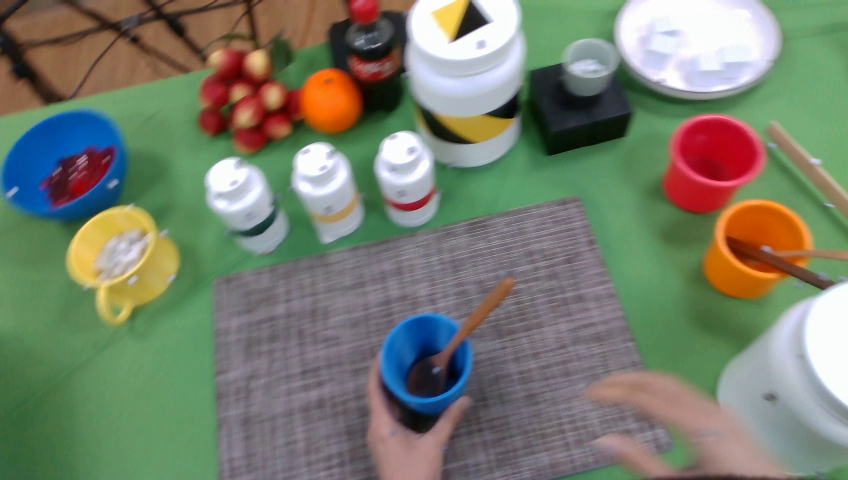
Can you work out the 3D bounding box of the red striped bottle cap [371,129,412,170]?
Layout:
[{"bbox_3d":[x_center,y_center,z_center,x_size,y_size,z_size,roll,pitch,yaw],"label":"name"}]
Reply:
[{"bbox_3d":[-0.035,-0.098,0.651,0.044,0.018,0.044,-1,60,1],"label":"red striped bottle cap"}]

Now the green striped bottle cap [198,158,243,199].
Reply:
[{"bbox_3d":[-0.219,-0.067,0.654,0.044,0.020,0.044,-2,61,4],"label":"green striped bottle cap"}]

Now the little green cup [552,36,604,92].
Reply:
[{"bbox_3d":[0.185,-0.212,0.736,0.061,0.039,0.061,-2,61,4],"label":"little green cup"}]

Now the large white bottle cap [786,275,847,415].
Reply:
[{"bbox_3d":[0.334,0.079,0.450,0.115,0.018,0.114,-2,62,5],"label":"large white bottle cap"}]

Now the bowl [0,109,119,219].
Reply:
[{"bbox_3d":[-0.449,-0.083,0.767,0.151,0.077,0.150,-2,63,4],"label":"bowl"}]

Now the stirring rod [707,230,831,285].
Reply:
[{"bbox_3d":[0.342,0.016,0.603,0.014,0.006,0.175,-19,20,-5],"label":"stirring rod"}]

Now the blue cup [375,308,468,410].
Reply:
[{"bbox_3d":[0.002,0.126,0.598,0.092,0.101,0.092,-2,61,4],"label":"blue cup"}]

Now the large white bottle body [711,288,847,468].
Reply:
[{"bbox_3d":[0.343,0.119,0.524,0.130,0.186,0.129,-2,62,5],"label":"large white bottle body"}]

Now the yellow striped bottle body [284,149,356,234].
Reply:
[{"bbox_3d":[-0.121,-0.061,0.700,0.063,0.121,0.062,-3,63,6],"label":"yellow striped bottle body"}]

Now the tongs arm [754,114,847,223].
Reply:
[{"bbox_3d":[0.507,-0.005,0.656,0.051,0.027,0.381,-24,64,-9],"label":"tongs arm"}]

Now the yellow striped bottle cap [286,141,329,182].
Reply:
[{"bbox_3d":[-0.126,-0.085,0.654,0.044,0.019,0.044,-2,64,4],"label":"yellow striped bottle cap"}]

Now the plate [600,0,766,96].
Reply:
[{"bbox_3d":[0.339,-0.271,0.809,0.209,0.038,0.207,-2,63,4],"label":"plate"}]

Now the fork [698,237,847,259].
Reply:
[{"bbox_3d":[0.370,0.010,0.598,0.028,0.019,0.206,-46,23,-22],"label":"fork"}]

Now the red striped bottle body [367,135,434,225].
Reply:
[{"bbox_3d":[-0.028,-0.073,0.697,0.063,0.121,0.062,-4,61,9],"label":"red striped bottle body"}]

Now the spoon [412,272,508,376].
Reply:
[{"bbox_3d":[0.026,0.093,0.568,0.022,0.194,0.041,-15,60,-39],"label":"spoon"}]

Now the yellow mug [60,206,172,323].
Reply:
[{"bbox_3d":[-0.359,0.032,0.706,0.100,0.064,0.129,-4,63,3],"label":"yellow mug"}]

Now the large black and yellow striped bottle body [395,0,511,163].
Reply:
[{"bbox_3d":[0.036,-0.192,0.716,0.131,0.185,0.129,-2,63,5],"label":"large black and yellow striped bottle body"}]

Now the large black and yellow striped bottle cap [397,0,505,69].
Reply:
[{"bbox_3d":[0.028,-0.229,0.640,0.115,0.019,0.114,-3,62,5],"label":"large black and yellow striped bottle cap"}]

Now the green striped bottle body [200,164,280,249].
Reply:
[{"bbox_3d":[-0.214,-0.043,0.700,0.063,0.120,0.062,-2,62,5],"label":"green striped bottle body"}]
